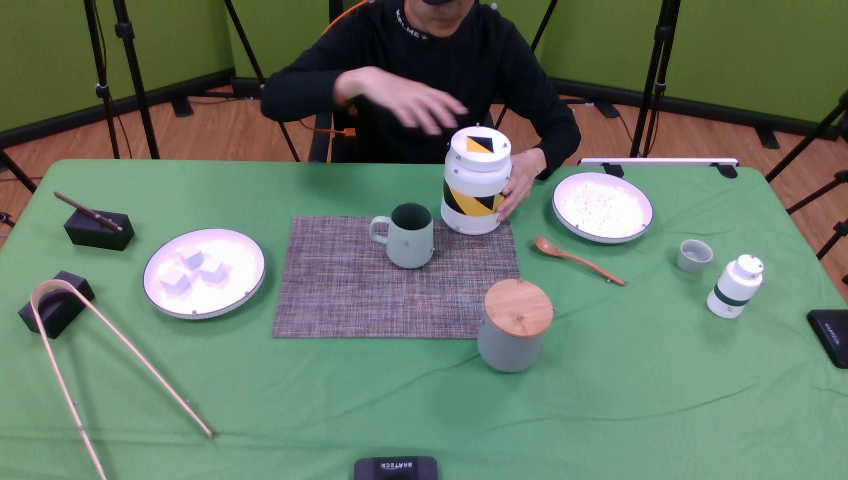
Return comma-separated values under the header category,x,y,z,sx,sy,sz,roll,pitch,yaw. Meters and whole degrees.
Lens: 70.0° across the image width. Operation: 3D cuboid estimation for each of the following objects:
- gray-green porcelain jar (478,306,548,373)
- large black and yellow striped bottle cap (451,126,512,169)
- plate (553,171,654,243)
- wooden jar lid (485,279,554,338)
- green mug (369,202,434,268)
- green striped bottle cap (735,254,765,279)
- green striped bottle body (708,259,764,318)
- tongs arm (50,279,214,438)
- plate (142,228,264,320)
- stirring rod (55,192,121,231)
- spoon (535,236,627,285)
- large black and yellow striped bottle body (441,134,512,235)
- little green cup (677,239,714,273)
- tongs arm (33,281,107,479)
category,x,y,z,sx,sy,sz,roll,pitch,yaw
gray-green porcelain jar,0.144,0.148,0.989,0.106,0.127,0.105,2,50,-2
large black and yellow striped bottle cap,0.108,-0.176,1.140,0.115,0.019,0.114,1,45,-1
plate,0.373,-0.066,1.274,0.209,0.038,0.208,2,46,-2
wooden jar lid,0.147,0.108,0.940,0.108,0.021,0.107,4,48,-4
green mug,-0.042,-0.010,1.140,0.125,0.105,0.092,8,47,4
green striped bottle cap,0.566,0.046,1.051,0.044,0.020,0.044,0,45,0
green striped bottle body,0.563,0.081,1.089,0.063,0.120,0.063,2,46,-2
tongs arm,-0.459,0.178,0.949,0.386,0.028,0.028,37,60,17
plate,-0.394,0.064,1.095,0.208,0.039,0.206,2,46,-2
stirring rod,-0.632,-0.055,1.138,0.175,0.014,0.006,24,50,19
spoon,0.303,0.040,1.178,0.193,0.022,0.041,25,34,19
large black and yellow striped bottle body,0.103,-0.116,1.198,0.131,0.185,0.130,2,44,-2
little green cup,0.530,0.033,1.190,0.061,0.039,0.061,2,47,-2
tongs arm,-0.517,0.214,0.910,0.051,0.026,0.383,-28,63,-27
